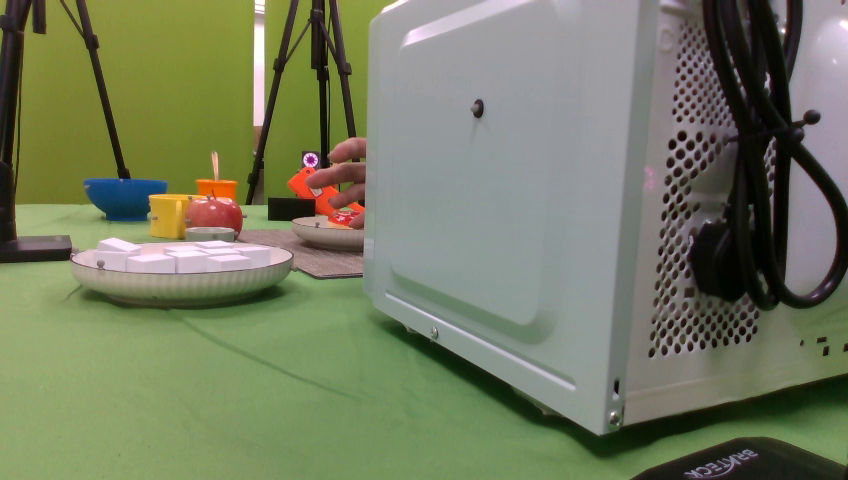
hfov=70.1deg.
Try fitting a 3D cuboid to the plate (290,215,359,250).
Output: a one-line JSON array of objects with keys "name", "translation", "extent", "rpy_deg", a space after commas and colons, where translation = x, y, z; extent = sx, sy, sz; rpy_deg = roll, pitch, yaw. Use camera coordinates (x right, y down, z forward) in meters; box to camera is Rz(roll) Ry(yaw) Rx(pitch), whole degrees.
[{"name": "plate", "translation": [-0.110, -0.014, 0.973], "extent": [0.209, 0.038, 0.209], "rpy_deg": [3, 8, 0]}]

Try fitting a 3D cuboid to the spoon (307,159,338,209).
[{"name": "spoon", "translation": [-0.257, -0.146, 1.567], "extent": [0.041, 0.022, 0.193], "rpy_deg": [1, 51, 20]}]

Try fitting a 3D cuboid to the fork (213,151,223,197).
[{"name": "fork", "translation": [-0.493, -0.143, 1.442], "extent": [0.028, 0.018, 0.206], "rpy_deg": [-3, 52, -18]}]

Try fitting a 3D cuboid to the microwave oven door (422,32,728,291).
[{"name": "microwave oven door", "translation": [0.173, -0.075, 0.639], "extent": [0.357, 0.243, 0.039], "rpy_deg": [-1, 8, -22]}]

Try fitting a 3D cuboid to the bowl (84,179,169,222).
[{"name": "bowl", "translation": [-0.584, -0.078, 1.194], "extent": [0.151, 0.077, 0.151], "rpy_deg": [3, 8, 0]}]

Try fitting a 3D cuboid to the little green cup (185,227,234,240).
[{"name": "little green cup", "translation": [-0.285, 0.005, 0.805], "extent": [0.061, 0.038, 0.061], "rpy_deg": [2, 8, 0]}]

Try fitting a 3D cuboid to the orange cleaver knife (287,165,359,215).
[{"name": "orange cleaver knife", "translation": [-0.211, -0.092, 1.382], "extent": [0.212, 0.077, 0.012], "rpy_deg": [33, 2, -15]}]

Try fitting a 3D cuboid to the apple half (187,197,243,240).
[{"name": "apple half", "translation": [-0.305, -0.026, 0.907], "extent": [0.053, 0.074, 0.081], "rpy_deg": [12, 8, 31]}]

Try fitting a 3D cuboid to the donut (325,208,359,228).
[{"name": "donut", "translation": [-0.110, -0.025, 0.974], "extent": [0.099, 0.048, 0.099], "rpy_deg": [4, 8, 0]}]

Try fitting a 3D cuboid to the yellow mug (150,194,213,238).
[{"name": "yellow mug", "translation": [-0.401, -0.040, 1.003], "extent": [0.100, 0.064, 0.130], "rpy_deg": [-1, 9, -20]}]

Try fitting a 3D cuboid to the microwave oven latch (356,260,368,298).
[{"name": "microwave oven latch", "translation": [-0.020, 0.033, 0.529], "extent": [0.079, 0.029, 0.030], "rpy_deg": [0, 7, -24]}]

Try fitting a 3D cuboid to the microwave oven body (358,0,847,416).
[{"name": "microwave oven body", "translation": [0.210, -0.047, 0.474], "extent": [0.444, 0.260, 0.324], "rpy_deg": [-1, 7, -28]}]

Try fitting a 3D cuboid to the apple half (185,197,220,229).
[{"name": "apple half", "translation": [-0.338, -0.031, 0.927], "extent": [0.032, 0.081, 0.081], "rpy_deg": [12, 12, 31]}]

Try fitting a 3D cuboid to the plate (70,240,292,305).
[{"name": "plate", "translation": [-0.242, 0.031, 0.618], "extent": [0.208, 0.039, 0.207], "rpy_deg": [2, 8, 0]}]
